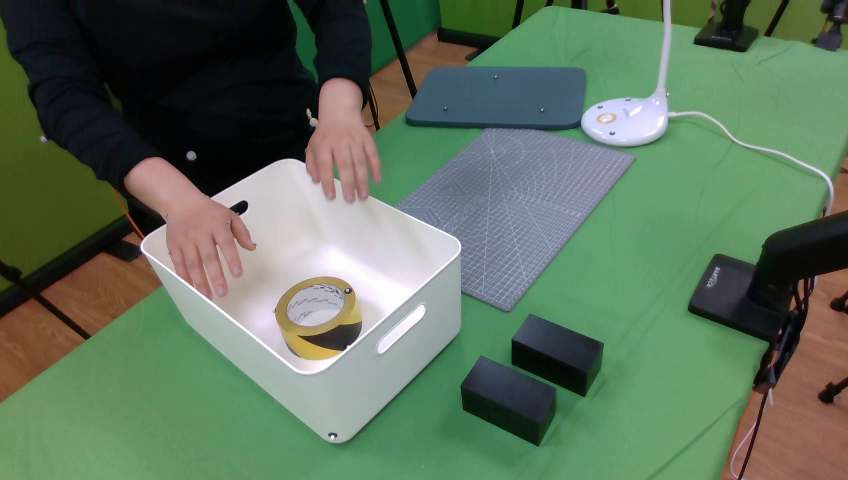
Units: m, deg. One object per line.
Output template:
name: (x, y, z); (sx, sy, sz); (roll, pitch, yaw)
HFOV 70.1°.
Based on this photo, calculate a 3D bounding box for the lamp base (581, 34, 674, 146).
lamp base: (0.392, -0.291, 1.129); (0.180, 0.181, 0.159); (-11, 41, -8)

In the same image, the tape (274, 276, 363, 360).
tape: (-0.144, 0.106, 0.833); (0.117, 0.053, 0.116); (-4, 41, 4)

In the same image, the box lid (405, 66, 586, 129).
box lid: (0.163, -0.317, 1.322); (0.370, 0.015, 0.263); (5, 42, 14)

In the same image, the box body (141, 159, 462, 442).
box body: (-0.153, 0.063, 0.809); (0.361, 0.161, 0.255); (27, 51, 33)
